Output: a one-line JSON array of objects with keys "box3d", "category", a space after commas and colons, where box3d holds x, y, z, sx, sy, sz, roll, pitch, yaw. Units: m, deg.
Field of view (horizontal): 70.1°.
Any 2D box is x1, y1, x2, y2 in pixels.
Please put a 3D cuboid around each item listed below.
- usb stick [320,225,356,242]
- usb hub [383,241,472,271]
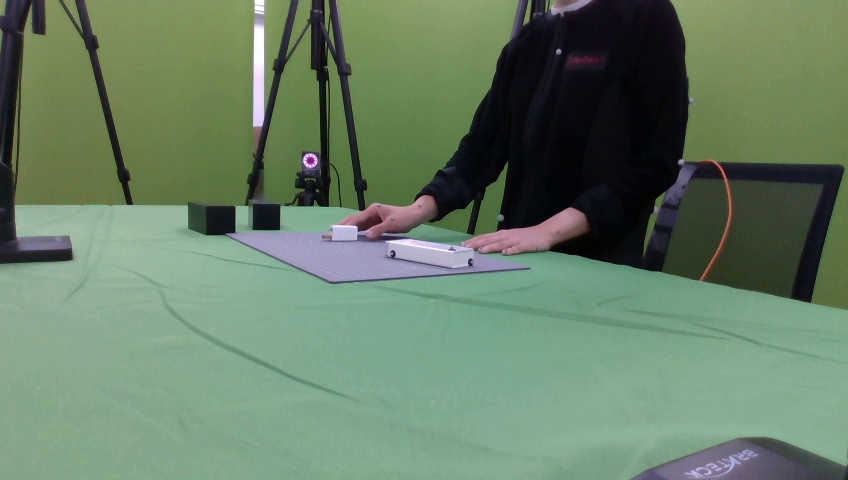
[{"box3d": [-0.146, -0.010, 1.017, 0.059, 0.027, 0.021, -4, 12, -26], "category": "usb stick"}, {"box3d": [0.003, 0.020, 0.842, 0.124, 0.025, 0.050, 8, 9, 39], "category": "usb hub"}]
